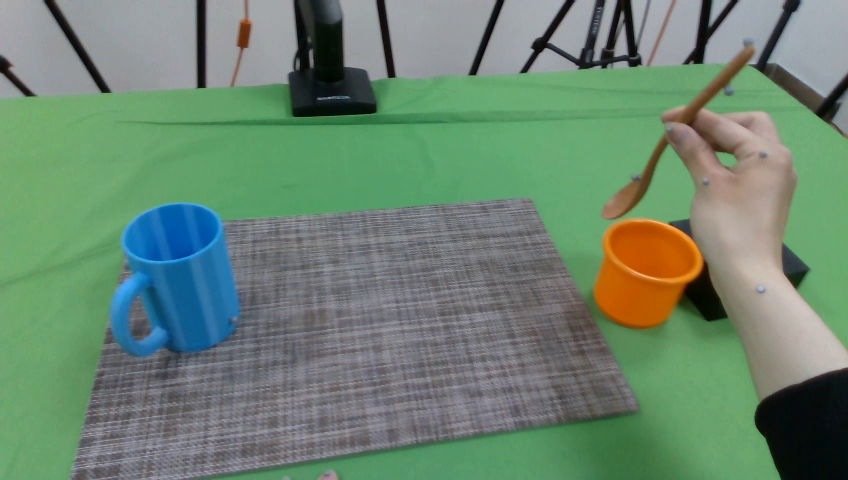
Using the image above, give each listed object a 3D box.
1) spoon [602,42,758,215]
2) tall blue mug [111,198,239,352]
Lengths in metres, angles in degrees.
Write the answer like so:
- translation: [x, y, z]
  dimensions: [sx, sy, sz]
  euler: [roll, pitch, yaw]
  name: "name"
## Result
- translation: [0.190, -0.078, 0.472]
  dimensions: [0.021, 0.195, 0.041]
  euler: [25, 57, 4]
  name: "spoon"
- translation: [-0.206, 0.040, 0.514]
  dimensions: [0.078, 0.109, 0.106]
  euler: [1, 42, -5]
  name: "tall blue mug"
